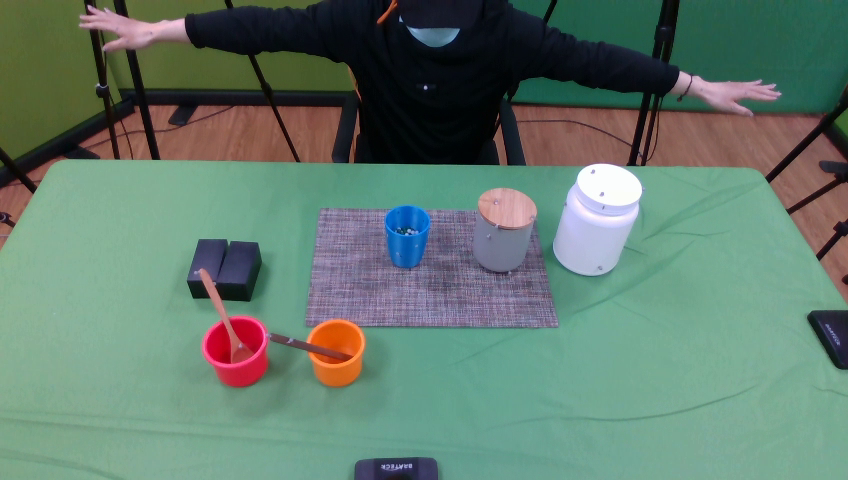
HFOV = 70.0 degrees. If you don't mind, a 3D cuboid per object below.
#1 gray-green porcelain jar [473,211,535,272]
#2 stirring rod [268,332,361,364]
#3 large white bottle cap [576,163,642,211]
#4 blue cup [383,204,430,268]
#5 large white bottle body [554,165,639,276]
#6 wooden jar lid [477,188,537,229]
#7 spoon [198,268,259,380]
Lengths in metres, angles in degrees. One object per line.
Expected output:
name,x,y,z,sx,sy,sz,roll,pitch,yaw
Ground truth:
gray-green porcelain jar,0.147,-0.011,1.139,0.106,0.127,0.105,2,46,-2
stirring rod,-0.167,0.169,0.941,0.177,0.006,0.014,26,27,-41
large white bottle cap,0.330,-0.096,1.080,0.115,0.018,0.114,2,46,-2
blue cup,-0.034,-0.002,1.135,0.093,0.101,0.092,2,46,-2
large white bottle body,0.326,-0.037,1.141,0.131,0.185,0.130,2,46,-2
wooden jar lid,0.149,-0.054,1.094,0.108,0.021,0.107,4,45,-4
spoon,-0.312,0.132,0.962,0.041,0.021,0.194,-24,96,-21
